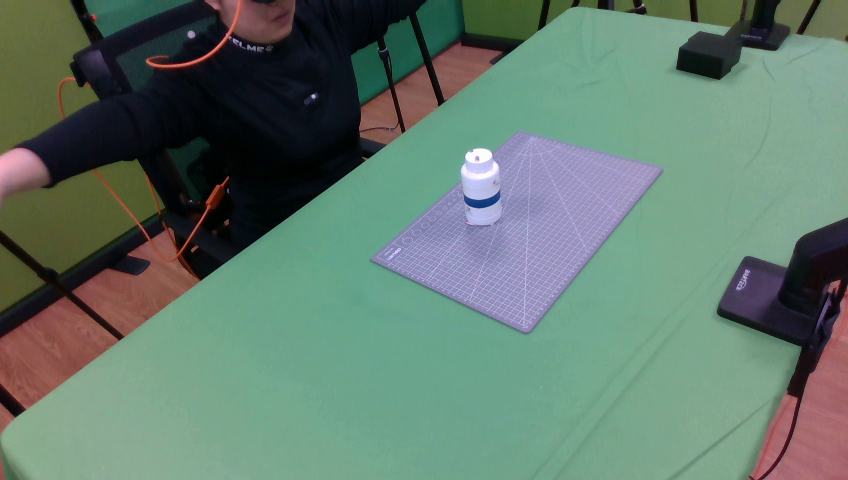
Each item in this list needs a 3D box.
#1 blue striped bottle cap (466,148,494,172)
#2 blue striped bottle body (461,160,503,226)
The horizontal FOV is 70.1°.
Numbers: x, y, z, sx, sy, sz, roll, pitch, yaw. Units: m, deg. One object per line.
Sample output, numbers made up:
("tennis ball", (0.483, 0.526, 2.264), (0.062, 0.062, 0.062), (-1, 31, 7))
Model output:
("blue striped bottle cap", (0.088, -0.127, 0.955), (0.044, 0.021, 0.044), (-6, 41, 6))
("blue striped bottle body", (0.094, -0.088, 0.987), (0.063, 0.121, 0.063), (-6, 40, 5))
